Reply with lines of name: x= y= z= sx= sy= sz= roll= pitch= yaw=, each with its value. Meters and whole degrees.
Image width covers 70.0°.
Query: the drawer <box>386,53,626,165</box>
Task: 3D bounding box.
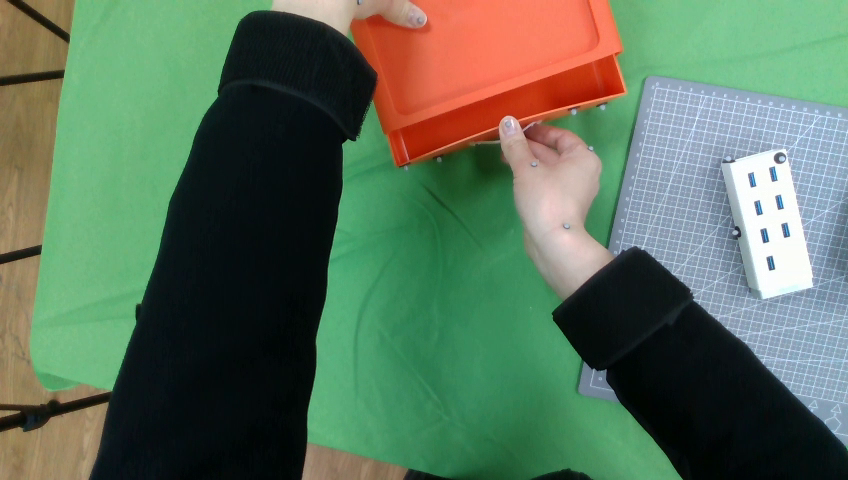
drawer: x=0.040 y=-0.189 z=0.507 sx=0.194 sy=0.073 sz=0.212 roll=-17 pitch=95 yaw=7

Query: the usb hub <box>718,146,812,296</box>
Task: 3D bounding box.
usb hub: x=0.302 y=-0.017 z=0.535 sx=0.049 sy=0.025 sz=0.125 roll=-16 pitch=97 yaw=5

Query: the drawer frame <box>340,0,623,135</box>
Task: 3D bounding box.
drawer frame: x=0.030 y=-0.216 z=0.501 sx=0.201 sy=0.082 sz=0.214 roll=-18 pitch=95 yaw=7
